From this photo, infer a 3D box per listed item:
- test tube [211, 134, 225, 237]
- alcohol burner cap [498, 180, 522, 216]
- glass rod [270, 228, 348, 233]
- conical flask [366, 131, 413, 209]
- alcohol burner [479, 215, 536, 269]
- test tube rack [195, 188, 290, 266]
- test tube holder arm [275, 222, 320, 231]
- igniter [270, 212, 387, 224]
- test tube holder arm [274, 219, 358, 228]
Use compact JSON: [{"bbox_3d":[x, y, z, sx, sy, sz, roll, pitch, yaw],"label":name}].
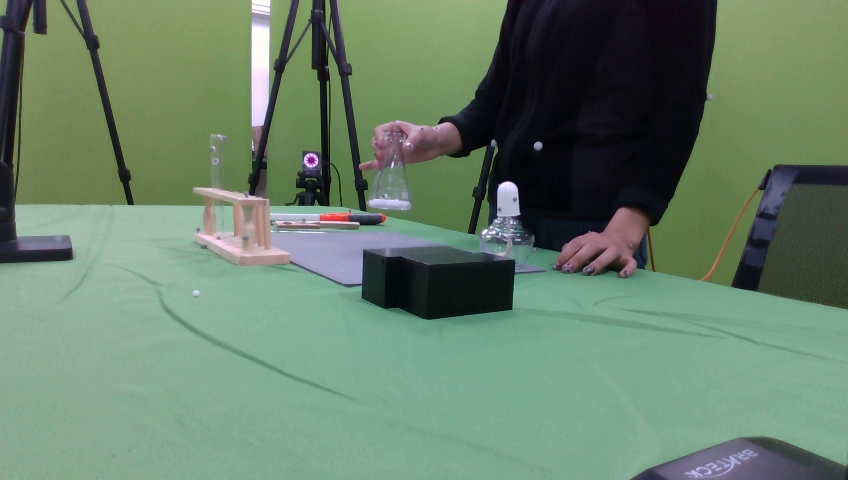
[{"bbox_3d":[-0.300,-0.079,0.881,0.017,0.150,0.017,3,12,0],"label":"test tube"},{"bbox_3d":[0.114,-0.056,0.809,0.034,0.048,0.034,-5,12,1],"label":"alcohol burner cap"},{"bbox_3d":[-0.234,-0.017,1.105,0.201,0.008,0.008,1,7,-26],"label":"glass rod"},{"bbox_3d":[-0.051,-0.111,0.968,0.075,0.122,0.075,4,2,0],"label":"conical flask"},{"bbox_3d":[0.114,-0.021,0.816,0.078,0.119,0.078,2,9,0],"label":"alcohol burner"},{"bbox_3d":[-0.266,-0.025,0.864,0.067,0.085,0.241,-2,9,-33],"label":"test tube rack"},{"bbox_3d":[-0.238,-0.026,1.145,0.088,0.015,0.010,-3,45,-39],"label":"test tube holder arm"},{"bbox_3d":[-0.213,-0.048,1.278,0.278,0.025,0.057,-1,-2,-25],"label":"igniter"},{"bbox_3d":[-0.206,-0.032,1.177,0.179,0.015,0.013,-4,46,-40],"label":"test tube holder arm"}]
